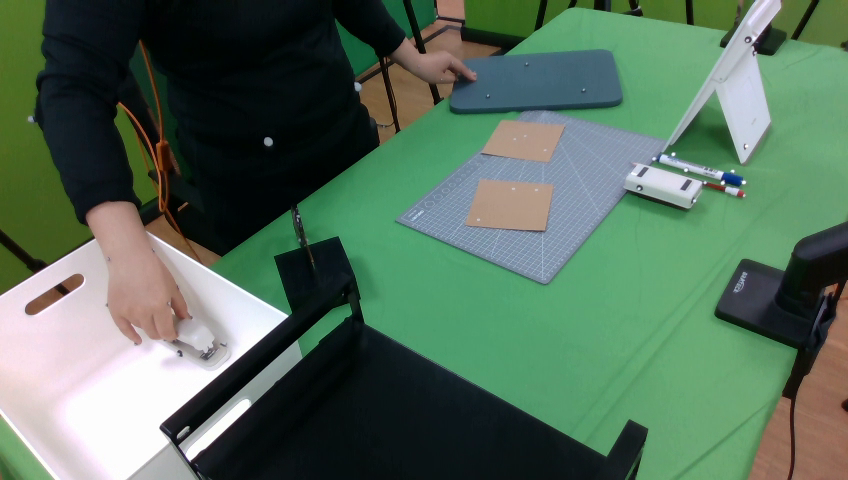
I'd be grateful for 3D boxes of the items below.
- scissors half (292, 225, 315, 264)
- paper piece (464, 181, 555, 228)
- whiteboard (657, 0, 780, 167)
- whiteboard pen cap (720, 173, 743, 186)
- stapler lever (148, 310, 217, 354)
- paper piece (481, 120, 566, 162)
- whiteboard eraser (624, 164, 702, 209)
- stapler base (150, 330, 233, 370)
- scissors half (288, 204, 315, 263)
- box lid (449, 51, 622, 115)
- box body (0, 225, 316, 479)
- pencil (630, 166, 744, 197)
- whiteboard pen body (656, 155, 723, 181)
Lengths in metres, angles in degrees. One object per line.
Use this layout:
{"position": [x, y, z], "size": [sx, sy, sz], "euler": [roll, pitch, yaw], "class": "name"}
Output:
{"position": [-0.188, 0.007, 0.954], "size": [0.013, 0.040, 0.174], "euler": [-22, 22, -12], "class": "scissors half"}
{"position": [0.149, -0.062, 1.034], "size": [0.137, 0.009, 0.136], "euler": [4, 37, 17], "class": "paper piece"}
{"position": [0.571, -0.272, 1.038], "size": [0.143, 0.306, 0.218], "euler": [37, 54, 17], "class": "whiteboard"}
{"position": [0.519, -0.103, 1.020], "size": [0.033, 0.018, 0.018], "euler": [23, 49, 30], "class": "whiteboard pen cap"}
{"position": [-0.333, 0.123, 0.827], "size": [0.117, 0.040, 0.027], "euler": [19, 53, 23], "class": "stapler lever"}
{"position": [0.197, -0.198, 1.188], "size": [0.135, 0.004, 0.135], "euler": [10, 44, 22], "class": "paper piece"}
{"position": [0.396, -0.087, 1.003], "size": [0.112, 0.042, 0.056], "euler": [22, 48, 31], "class": "whiteboard eraser"}
{"position": [-0.329, 0.140, 0.846], "size": [0.130, 0.024, 0.041], "euler": [20, 53, 22], "class": "stapler base"}
{"position": [-0.191, -0.010, 0.944], "size": [0.013, 0.040, 0.173], "euler": [-17, 38, -15], "class": "scissors half"}
{"position": [0.250, -0.358, 1.370], "size": [0.371, 0.015, 0.262], "euler": [-1, 40, 9], "class": "box lid"}
{"position": [-0.339, 0.162, 0.728], "size": [0.361, 0.161, 0.255], "euler": [23, 48, 31], "class": "box body"}
{"position": [0.447, -0.103, 1.039], "size": [0.192, 0.012, 0.012], "euler": [21, 48, 30], "class": "pencil"}
{"position": [0.475, -0.123, 1.052], "size": [0.139, 0.017, 0.017], "euler": [24, 50, 32], "class": "whiteboard pen body"}
